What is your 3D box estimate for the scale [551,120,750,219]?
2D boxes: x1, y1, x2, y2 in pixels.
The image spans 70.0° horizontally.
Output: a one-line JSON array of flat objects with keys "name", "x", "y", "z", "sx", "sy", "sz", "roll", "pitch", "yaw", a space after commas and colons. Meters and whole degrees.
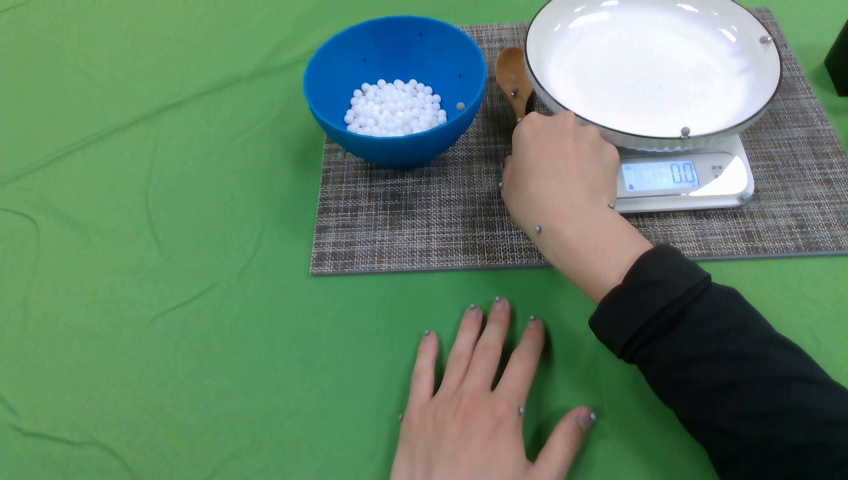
[{"name": "scale", "x": 0.188, "y": -0.107, "z": 0.533, "sx": 0.148, "sy": 0.032, "sz": 0.199, "roll": -3, "pitch": 55, "yaw": 3}]

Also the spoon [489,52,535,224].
[{"name": "spoon", "x": 0.083, "y": -0.096, "z": 0.538, "sx": 0.042, "sy": 0.022, "sz": 0.192, "roll": 7, "pitch": 55, "yaw": -10}]

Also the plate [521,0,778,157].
[{"name": "plate", "x": 0.186, "y": -0.145, "z": 0.519, "sx": 0.209, "sy": 0.038, "sz": 0.207, "roll": -1, "pitch": 55, "yaw": 2}]

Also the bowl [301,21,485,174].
[{"name": "bowl", "x": -0.023, "y": -0.110, "z": 0.522, "sx": 0.151, "sy": 0.077, "sz": 0.150, "roll": -2, "pitch": 55, "yaw": 3}]
